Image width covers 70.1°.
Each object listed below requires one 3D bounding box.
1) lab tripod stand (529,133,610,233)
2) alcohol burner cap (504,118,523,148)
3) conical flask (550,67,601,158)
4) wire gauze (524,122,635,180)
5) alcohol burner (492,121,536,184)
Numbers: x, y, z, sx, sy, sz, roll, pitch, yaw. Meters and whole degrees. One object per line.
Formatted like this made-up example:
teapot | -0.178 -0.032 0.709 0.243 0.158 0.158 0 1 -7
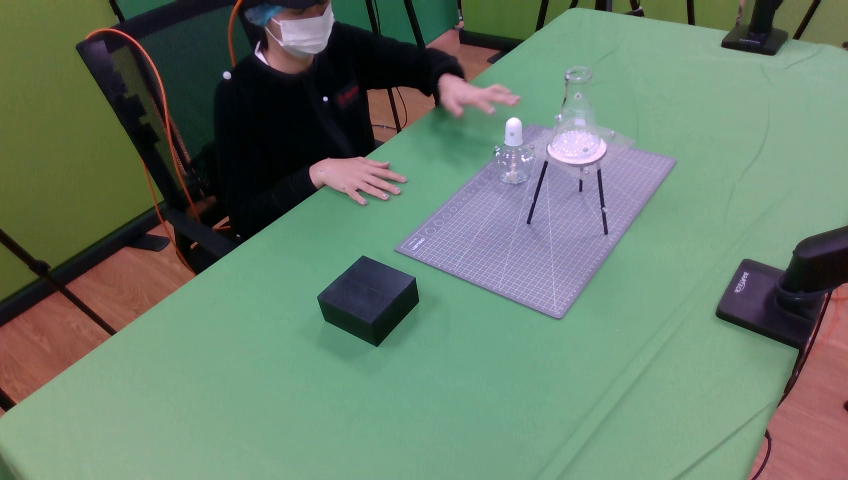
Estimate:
lab tripod stand | 0.236 -0.089 0.953 0.148 0.132 0.147 -5 42 5
alcohol burner cap | 0.154 -0.186 1.042 0.034 0.048 0.033 -4 33 3
conical flask | 0.221 -0.186 0.875 0.075 0.122 0.075 -5 40 5
wire gauze | 0.233 -0.142 0.913 0.122 0.011 0.124 -31 43 -26
alcohol burner | 0.159 -0.158 1.064 0.078 0.119 0.077 -3 41 3
